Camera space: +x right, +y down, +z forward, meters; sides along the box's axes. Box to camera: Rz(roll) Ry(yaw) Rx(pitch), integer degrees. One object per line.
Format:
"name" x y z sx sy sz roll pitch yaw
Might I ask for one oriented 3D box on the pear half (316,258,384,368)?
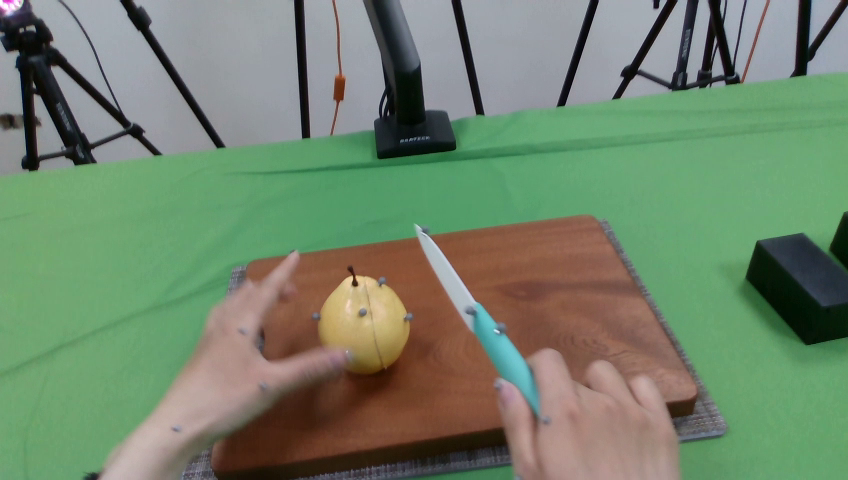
"pear half" -0.067 0.059 0.520 0.056 0.111 0.075 -10 36 -6

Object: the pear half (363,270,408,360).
"pear half" -0.031 0.062 0.529 0.031 0.089 0.069 -11 33 -6

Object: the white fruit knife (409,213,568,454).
"white fruit knife" 0.036 0.052 0.421 0.016 0.027 0.205 -11 50 -32
